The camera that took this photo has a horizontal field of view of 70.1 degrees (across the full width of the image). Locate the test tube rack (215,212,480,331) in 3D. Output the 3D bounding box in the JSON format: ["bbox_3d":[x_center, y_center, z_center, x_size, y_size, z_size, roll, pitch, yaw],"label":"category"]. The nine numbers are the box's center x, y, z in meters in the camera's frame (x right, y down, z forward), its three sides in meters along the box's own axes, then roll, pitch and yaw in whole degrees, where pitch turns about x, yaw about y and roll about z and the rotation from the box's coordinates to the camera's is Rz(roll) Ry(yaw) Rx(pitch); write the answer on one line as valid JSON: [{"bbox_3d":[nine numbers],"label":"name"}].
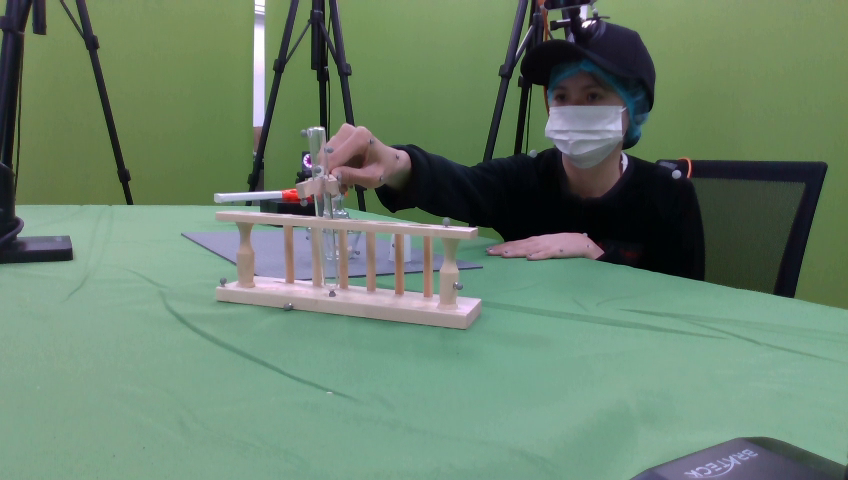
[{"bbox_3d":[-0.071,0.023,0.565,0.242,0.085,0.067,5,7,16],"label":"test tube rack"}]

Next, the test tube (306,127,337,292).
[{"bbox_3d":[-0.092,-0.027,0.548,0.017,0.150,0.017,-4,7,1],"label":"test tube"}]

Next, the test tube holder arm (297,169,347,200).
[{"bbox_3d":[-0.101,-0.060,0.620,0.013,0.015,0.178,4,12,2],"label":"test tube holder arm"}]

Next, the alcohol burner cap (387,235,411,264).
[{"bbox_3d":[-0.035,0.009,0.840,0.034,0.048,0.034,2,6,0],"label":"alcohol burner cap"}]

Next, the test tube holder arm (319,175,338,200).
[{"bbox_3d":[-0.093,-0.051,0.578,0.010,0.015,0.087,-1,12,-16],"label":"test tube holder arm"}]

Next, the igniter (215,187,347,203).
[{"bbox_3d":[-0.293,-0.094,1.267,0.278,0.025,0.057,-6,12,-33],"label":"igniter"}]

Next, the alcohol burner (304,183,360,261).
[{"bbox_3d":[-0.126,-0.031,0.838,0.078,0.119,0.078,3,5,0],"label":"alcohol burner"}]
